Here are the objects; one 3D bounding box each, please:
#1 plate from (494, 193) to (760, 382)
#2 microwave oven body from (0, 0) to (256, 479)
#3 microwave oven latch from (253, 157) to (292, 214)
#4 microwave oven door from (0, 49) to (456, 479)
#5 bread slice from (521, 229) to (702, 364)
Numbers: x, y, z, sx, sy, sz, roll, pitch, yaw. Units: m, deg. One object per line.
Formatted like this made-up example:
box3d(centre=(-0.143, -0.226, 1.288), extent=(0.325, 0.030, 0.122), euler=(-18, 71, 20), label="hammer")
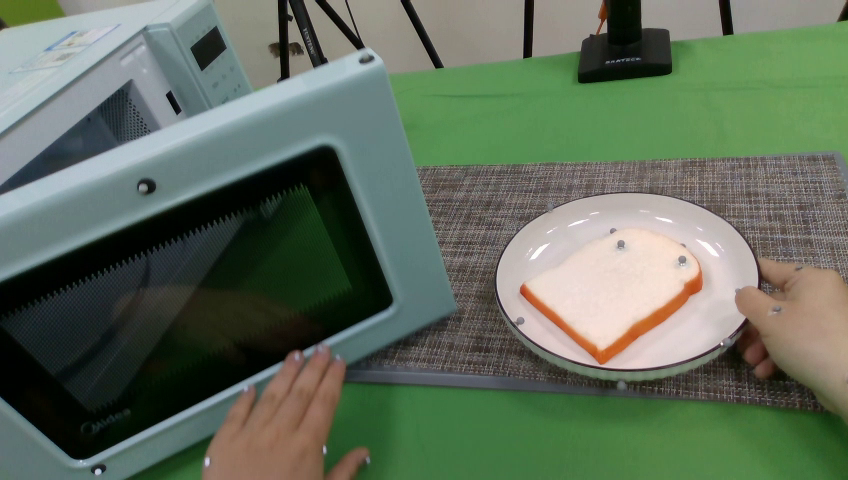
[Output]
box3d(centre=(0.164, 0.037, 0.510), extent=(0.209, 0.038, 0.207), euler=(-11, 39, 9), label="plate")
box3d(centre=(-0.395, -0.020, 0.607), extent=(0.325, 0.263, 0.438), euler=(0, 42, 19), label="microwave oven body")
box3d(centre=(-0.189, -0.068, 0.743), extent=(0.030, 0.030, 0.078), euler=(1, 43, 20), label="microwave oven latch")
box3d(centre=(-0.161, 0.041, 0.439), extent=(0.356, 0.246, 0.039), euler=(-26, 39, -11), label="microwave oven door")
box3d(centre=(0.162, 0.036, 0.513), extent=(0.131, 0.019, 0.103), euler=(-30, 41, -16), label="bread slice")
